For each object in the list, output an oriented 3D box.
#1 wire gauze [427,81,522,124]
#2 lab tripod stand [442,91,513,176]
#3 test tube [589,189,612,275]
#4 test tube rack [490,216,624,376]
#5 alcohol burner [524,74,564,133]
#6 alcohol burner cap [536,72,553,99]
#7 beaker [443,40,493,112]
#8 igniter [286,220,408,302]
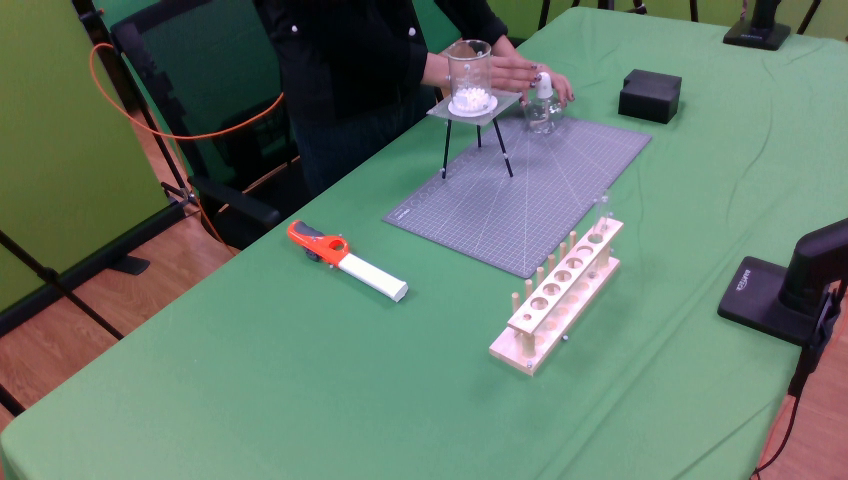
[{"bbox_3d":[0.088,-0.237,1.051,0.120,0.011,0.125,23,47,29],"label":"wire gauze"},{"bbox_3d":[0.096,-0.190,1.096,0.148,0.132,0.147,-4,40,4],"label":"lab tripod stand"},{"bbox_3d":[0.238,-0.007,0.818,0.017,0.151,0.017,-3,43,4],"label":"test tube"},{"bbox_3d":[0.184,0.064,0.822,0.066,0.085,0.243,24,50,33],"label":"test tube rack"},{"bbox_3d":[0.235,-0.271,1.181,0.078,0.119,0.077,-4,41,4],"label":"alcohol burner"},{"bbox_3d":[0.228,-0.298,1.158,0.034,0.048,0.033,-9,42,9],"label":"alcohol burner cap"},{"bbox_3d":[0.076,-0.276,1.023,0.083,0.101,0.074,5,42,15],"label":"beaker"},{"bbox_3d":[-0.134,0.028,0.969,0.274,0.025,0.057,26,61,35],"label":"igniter"}]
